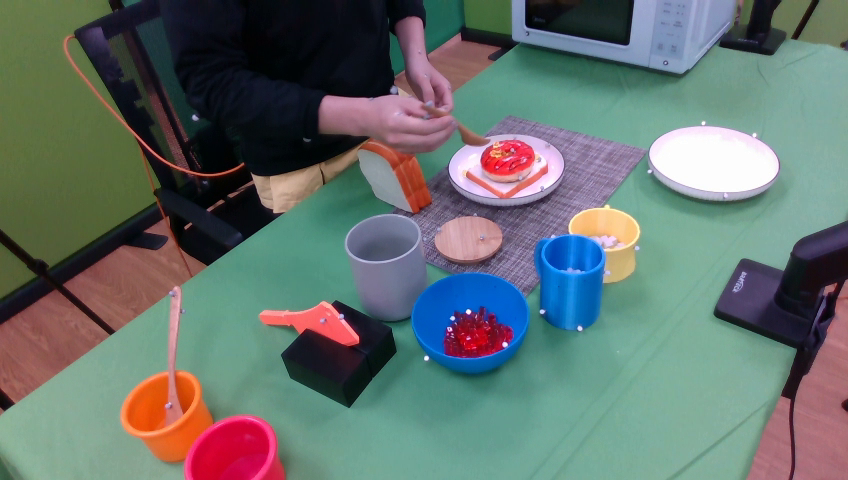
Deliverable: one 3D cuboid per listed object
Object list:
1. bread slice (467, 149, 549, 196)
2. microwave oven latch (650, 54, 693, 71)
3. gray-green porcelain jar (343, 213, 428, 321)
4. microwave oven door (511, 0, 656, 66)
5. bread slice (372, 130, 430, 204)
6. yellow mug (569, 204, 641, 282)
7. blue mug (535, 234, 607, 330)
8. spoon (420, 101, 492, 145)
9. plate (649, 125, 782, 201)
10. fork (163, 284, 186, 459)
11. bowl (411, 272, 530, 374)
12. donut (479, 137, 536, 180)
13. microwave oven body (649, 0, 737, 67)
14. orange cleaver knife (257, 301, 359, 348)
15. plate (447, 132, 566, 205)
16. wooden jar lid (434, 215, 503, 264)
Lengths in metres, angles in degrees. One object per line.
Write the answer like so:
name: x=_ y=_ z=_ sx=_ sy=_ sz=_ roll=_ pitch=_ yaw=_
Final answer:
bread slice: x=0.156 y=-0.128 z=1.085 sx=0.132 sy=0.019 sz=0.104 roll=-34 pitch=48 yaw=-23
microwave oven latch: x=0.531 y=-0.386 z=1.301 sx=0.078 sy=0.029 sz=0.030 roll=26 pitch=51 yaw=33
gray-green porcelain jar: x=-0.049 y=0.042 z=0.849 sx=0.106 sy=0.127 sz=0.105 roll=-4 pitch=41 yaw=4
microwave oven door: x=0.351 y=-0.539 z=1.349 sx=0.353 sy=0.245 sz=0.039 roll=24 pitch=50 yaw=31
bread slice: x=-0.043 y=-0.126 z=1.038 sx=0.106 sy=0.135 sz=0.018 roll=30 pitch=61 yaw=33
yellow mug: x=0.268 y=-0.005 z=0.904 sx=0.099 sy=0.064 sz=0.130 roll=7 pitch=41 yaw=15
blue mug: x=0.190 y=0.048 z=0.824 sx=0.082 sy=0.106 sz=0.115 roll=-26 pitch=44 yaw=-20
spoon: x=0.044 y=-0.162 z=0.840 sx=0.041 sy=0.195 sz=0.021 roll=4 pitch=83 yaw=30
plate: x=0.493 y=-0.127 z=1.036 sx=0.207 sy=0.039 sz=0.206 roll=-4 pitch=41 yaw=4
fork: x=-0.302 y=0.157 z=0.733 sx=0.028 sy=0.019 sz=0.207 roll=-3 pitch=84 yaw=15
bowl: x=0.062 y=0.120 z=0.780 sx=0.151 sy=0.077 sz=0.150 roll=-4 pitch=40 yaw=4
donut: x=0.145 y=-0.143 z=1.056 sx=0.099 sy=0.048 sz=0.098 roll=-6 pitch=42 yaw=6
microwave oven body: x=0.475 y=-0.602 z=1.411 sx=0.438 sy=0.261 sz=0.327 roll=23 pitch=50 yaw=32
orange cleaver knife: x=-0.160 y=0.115 z=0.813 sx=0.210 sy=0.077 sz=0.012 roll=-9 pitch=29 yaw=48
plate: x=0.146 y=-0.124 z=1.076 sx=0.209 sy=0.038 sz=0.208 roll=-4 pitch=41 yaw=4
wooden jar lid: x=0.070 y=0.001 z=0.956 sx=0.108 sy=0.021 sz=0.108 roll=-4 pitch=40 yaw=4
